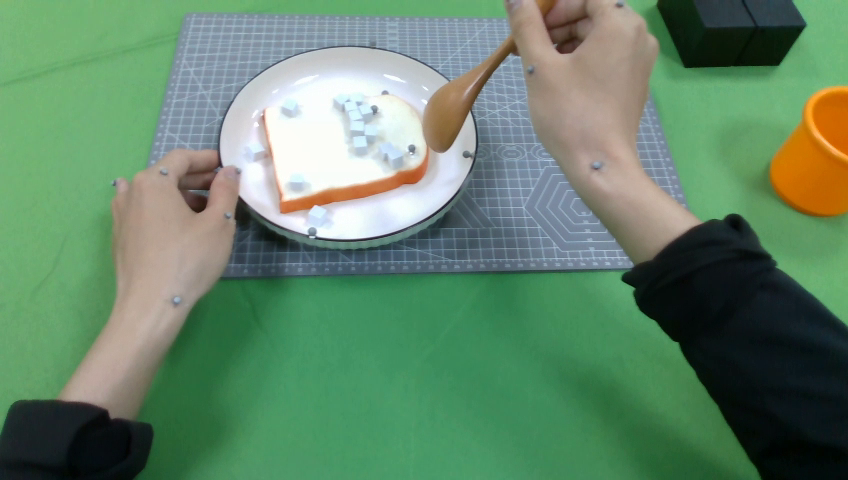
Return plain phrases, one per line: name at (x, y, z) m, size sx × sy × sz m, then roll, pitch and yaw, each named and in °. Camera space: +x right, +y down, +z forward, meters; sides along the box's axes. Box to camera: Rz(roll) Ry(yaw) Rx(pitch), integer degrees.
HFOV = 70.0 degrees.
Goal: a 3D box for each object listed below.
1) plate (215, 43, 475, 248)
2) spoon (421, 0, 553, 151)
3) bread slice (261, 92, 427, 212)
plate at (-0.062, -0.078, 0.501) m, size 0.209 × 0.038 × 0.207 m, roll 2°, pitch 59°, yaw -3°
spoon at (0.052, -0.131, 0.392) m, size 0.022 × 0.194 × 0.041 m, roll 5°, pitch 50°, yaw -44°
bread slice at (-0.065, -0.082, 0.506) m, size 0.132 × 0.019 × 0.104 m, roll -14°, pitch 61°, yaw -12°
